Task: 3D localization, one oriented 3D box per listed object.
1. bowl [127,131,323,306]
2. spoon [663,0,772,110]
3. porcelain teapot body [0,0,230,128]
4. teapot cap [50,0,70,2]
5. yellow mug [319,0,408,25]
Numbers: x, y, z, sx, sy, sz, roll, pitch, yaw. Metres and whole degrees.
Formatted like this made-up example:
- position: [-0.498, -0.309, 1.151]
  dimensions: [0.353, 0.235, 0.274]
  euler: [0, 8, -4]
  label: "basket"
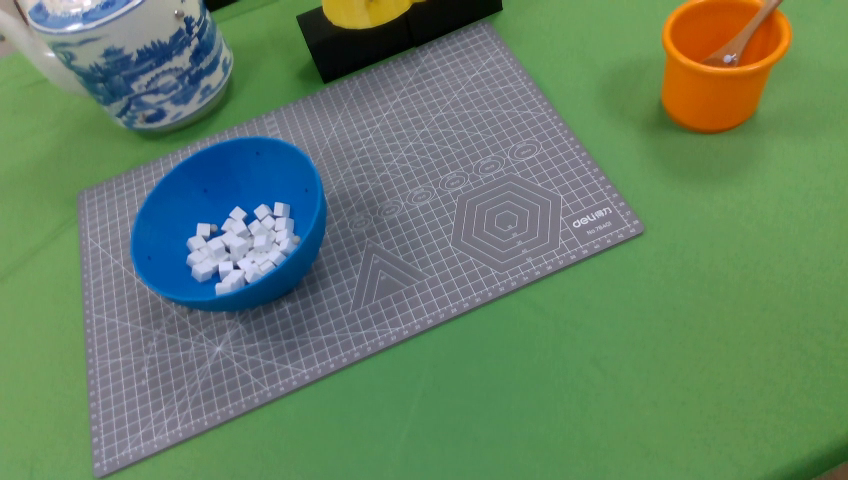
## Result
- position: [-0.143, -0.005, 0.482]
  dimensions: [0.151, 0.077, 0.150]
  euler: [-6, 57, 9]
  label: "bowl"
- position: [0.259, -0.179, 0.462]
  dimensions: [0.022, 0.194, 0.041]
  euler: [1, 47, -41]
  label: "spoon"
- position: [-0.320, -0.213, 0.569]
  dimensions: [0.205, 0.227, 0.143]
  euler: [-19, 57, 1]
  label: "porcelain teapot body"
- position: [-0.301, -0.242, 0.536]
  dimensions: [0.085, 0.044, 0.084]
  euler: [-7, 59, 12]
  label: "teapot cap"
- position: [-0.049, -0.261, 0.573]
  dimensions: [0.130, 0.064, 0.099]
  euler: [17, 64, 21]
  label: "yellow mug"
